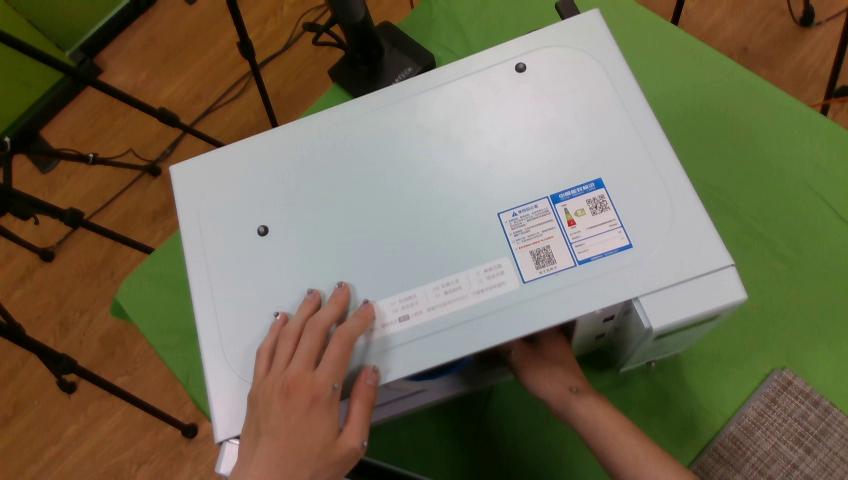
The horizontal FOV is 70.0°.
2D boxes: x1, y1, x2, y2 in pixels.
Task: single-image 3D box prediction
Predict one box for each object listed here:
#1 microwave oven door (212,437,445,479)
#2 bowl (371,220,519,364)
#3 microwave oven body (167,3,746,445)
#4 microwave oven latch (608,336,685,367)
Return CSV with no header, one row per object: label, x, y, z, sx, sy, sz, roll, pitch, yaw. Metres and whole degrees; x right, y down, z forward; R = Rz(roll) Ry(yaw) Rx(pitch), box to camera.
microwave oven door,0.020,0.247,0.549,0.354,0.245,0.039,13,74,14
bowl,0.021,0.063,0.645,0.151,0.077,0.150,0,69,-1
microwave oven body,0.018,0.013,0.639,0.442,0.262,0.323,-20,69,3
microwave oven latch,0.245,0.115,0.666,0.079,0.030,0.030,-18,69,4
